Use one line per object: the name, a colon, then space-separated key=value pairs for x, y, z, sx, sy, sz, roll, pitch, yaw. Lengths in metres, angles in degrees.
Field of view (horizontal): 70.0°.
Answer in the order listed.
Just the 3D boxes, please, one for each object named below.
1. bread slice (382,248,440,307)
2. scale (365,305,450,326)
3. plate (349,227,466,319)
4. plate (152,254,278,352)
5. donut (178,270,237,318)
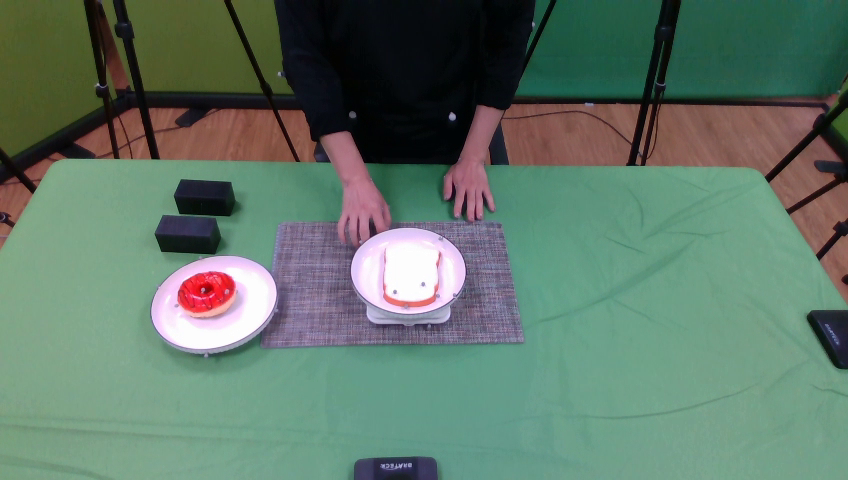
bread slice: x=-0.023 y=0.064 z=1.078 sx=0.105 sy=0.019 sz=0.130 roll=2 pitch=45 yaw=0
scale: x=-0.032 y=0.071 z=1.113 sx=0.149 sy=0.032 sz=0.199 roll=0 pitch=46 yaw=-4
plate: x=-0.029 y=0.061 z=1.077 sx=0.209 sy=0.038 sz=0.208 roll=2 pitch=45 yaw=-2
plate: x=-0.357 y=0.111 z=1.052 sx=0.208 sy=0.039 sz=0.206 roll=2 pitch=46 yaw=-2
donut: x=-0.375 y=0.092 z=1.053 sx=0.099 sy=0.048 sz=0.098 roll=1 pitch=42 yaw=0
